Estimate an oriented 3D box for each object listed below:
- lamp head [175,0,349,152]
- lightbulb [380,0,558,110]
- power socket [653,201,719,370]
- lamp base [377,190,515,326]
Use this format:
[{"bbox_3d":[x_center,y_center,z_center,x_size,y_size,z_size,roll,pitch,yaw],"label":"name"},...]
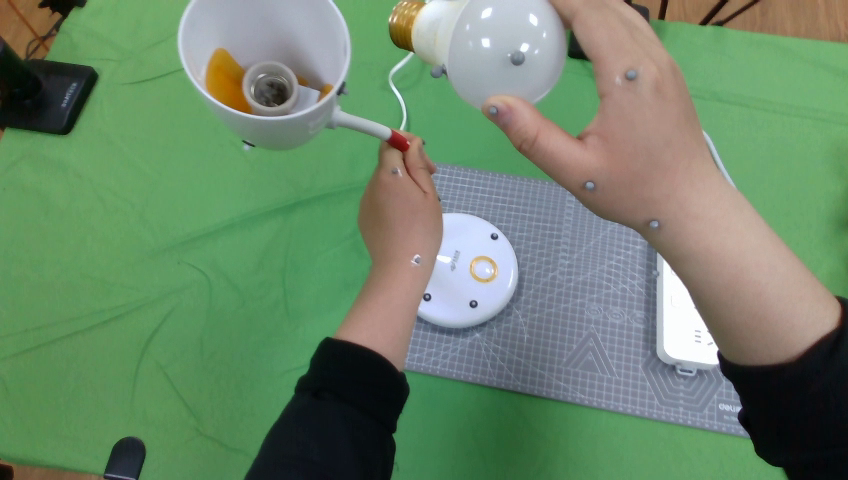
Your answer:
[{"bbox_3d":[-0.112,-0.116,0.455,0.112,0.123,0.112,1,75,-4],"label":"lamp head"},{"bbox_3d":[0.018,-0.103,0.311,0.106,0.060,0.059,27,68,33],"label":"lightbulb"},{"bbox_3d":[0.329,0.050,0.767,0.072,0.033,0.225,8,66,4],"label":"power socket"},{"bbox_3d":[0.022,0.001,0.713,0.179,0.181,0.159,3,65,6],"label":"lamp base"}]
